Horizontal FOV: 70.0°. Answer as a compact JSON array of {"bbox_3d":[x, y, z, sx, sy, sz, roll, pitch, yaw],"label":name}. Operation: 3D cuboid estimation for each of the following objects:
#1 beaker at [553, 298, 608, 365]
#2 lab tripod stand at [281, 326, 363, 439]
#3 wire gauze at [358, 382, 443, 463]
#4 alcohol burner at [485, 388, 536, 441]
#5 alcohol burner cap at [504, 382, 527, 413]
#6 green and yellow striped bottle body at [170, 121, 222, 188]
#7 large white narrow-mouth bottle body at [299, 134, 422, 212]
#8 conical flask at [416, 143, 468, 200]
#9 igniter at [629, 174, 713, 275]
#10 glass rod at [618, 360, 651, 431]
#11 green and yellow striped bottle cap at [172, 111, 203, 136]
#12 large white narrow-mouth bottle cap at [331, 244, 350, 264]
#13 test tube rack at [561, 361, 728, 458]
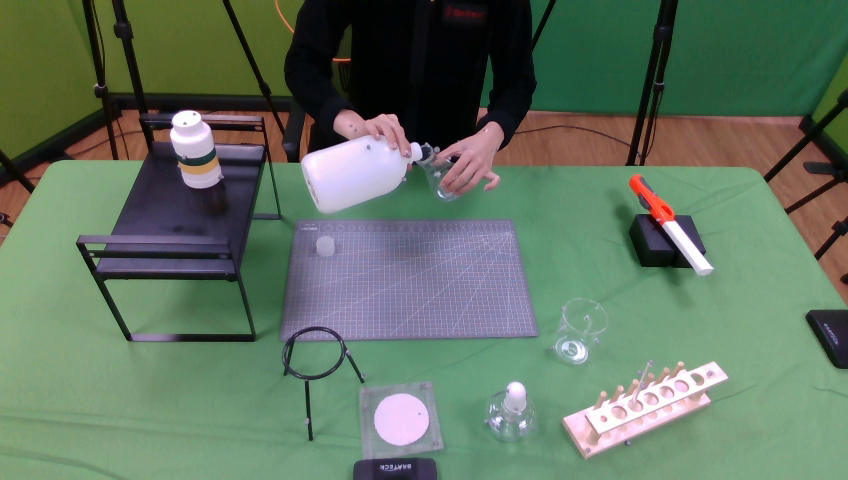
[{"bbox_3d":[0.260,0.154,1.015,0.073,0.101,0.084,37,54,27],"label":"beaker"},{"bbox_3d":[-0.166,0.203,0.913,0.148,0.132,0.147,1,47,-1],"label":"lab tripod stand"},{"bbox_3d":[-0.039,0.277,0.937,0.121,0.011,0.124,-4,47,-7],"label":"wire gauze"},{"bbox_3d":[0.131,0.249,0.904,0.078,0.120,0.077,1,48,-1],"label":"alcohol burner"},{"bbox_3d":[0.133,0.225,0.877,0.034,0.048,0.033,-4,47,5],"label":"alcohol burner cap"},{"bbox_3d":[-0.375,-0.149,0.995,0.063,0.120,0.063,2,46,-2],"label":"green and yellow striped bottle body"},{"bbox_3d":[-0.097,-0.118,0.990,0.195,0.102,0.101,-18,50,-15],"label":"large white narrow-mouth bottle body"},{"bbox_3d":[0.024,-0.126,1.078,0.075,0.122,0.075,-11,65,24],"label":"conical flask"},{"bbox_3d":[0.481,-0.040,1.202,0.057,0.025,0.274,-2,46,-21],"label":"igniter"},{"bbox_3d":[0.298,0.226,0.865,0.008,0.201,0.008,-1,48,2],"label":"glass rod"},{"bbox_3d":[-0.374,-0.185,0.957,0.045,0.020,0.045,3,45,-3],"label":"green and yellow striped bottle cap"},{"bbox_3d":[-0.160,0.026,1.161,0.038,0.024,0.037,4,46,-4],"label":"large white narrow-mouth bottle cap"},{"bbox_3d":[0.341,0.248,0.940,0.243,0.085,0.066,-15,49,-18],"label":"test tube rack"}]
